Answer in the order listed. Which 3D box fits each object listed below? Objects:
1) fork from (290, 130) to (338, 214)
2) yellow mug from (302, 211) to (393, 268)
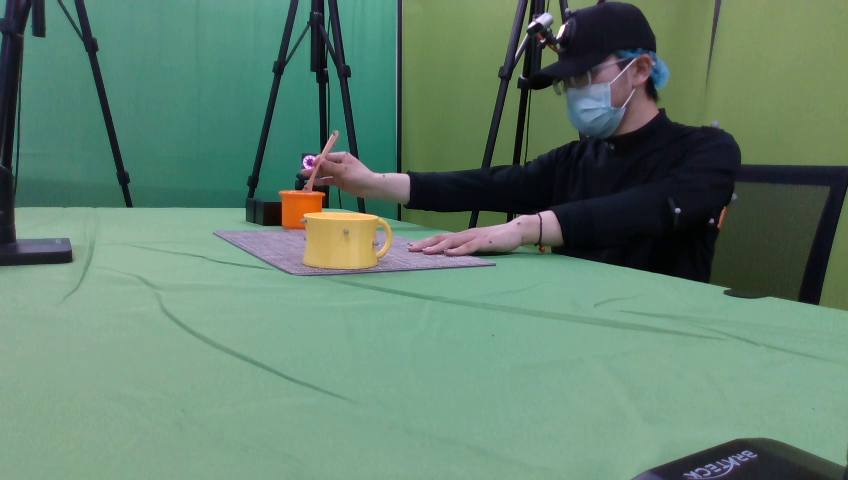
[{"bbox_3d":[-0.223,-0.143,1.247,0.028,0.207,0.018,18,-17,15],"label":"fork"},{"bbox_3d":[-0.098,-0.003,0.810,0.131,0.064,0.099,-2,8,-37],"label":"yellow mug"}]
